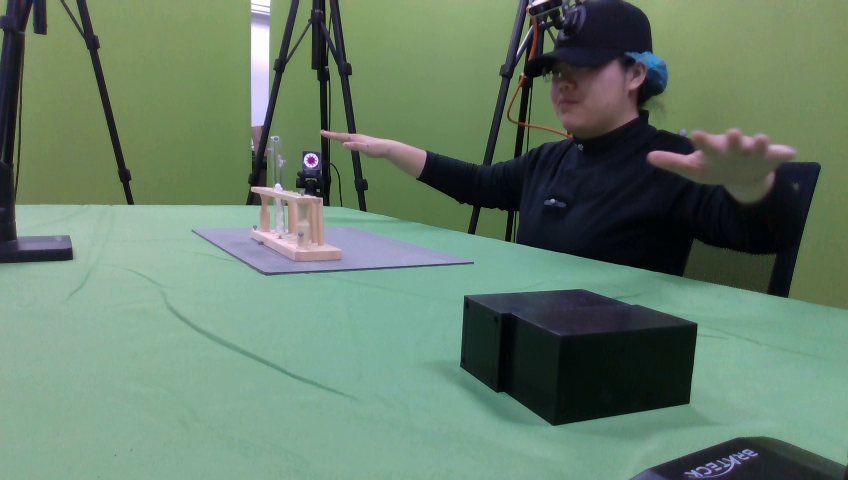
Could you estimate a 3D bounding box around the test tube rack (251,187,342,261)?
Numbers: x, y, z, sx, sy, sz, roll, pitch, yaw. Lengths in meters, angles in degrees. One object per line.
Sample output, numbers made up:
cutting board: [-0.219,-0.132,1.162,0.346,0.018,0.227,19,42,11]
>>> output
test tube rack: [-0.196,-0.030,0.902,0.067,0.085,0.241,-2,8,-29]

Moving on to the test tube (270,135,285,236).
test tube: [-0.218,-0.081,0.904,0.017,0.150,0.017,-2,4,0]
